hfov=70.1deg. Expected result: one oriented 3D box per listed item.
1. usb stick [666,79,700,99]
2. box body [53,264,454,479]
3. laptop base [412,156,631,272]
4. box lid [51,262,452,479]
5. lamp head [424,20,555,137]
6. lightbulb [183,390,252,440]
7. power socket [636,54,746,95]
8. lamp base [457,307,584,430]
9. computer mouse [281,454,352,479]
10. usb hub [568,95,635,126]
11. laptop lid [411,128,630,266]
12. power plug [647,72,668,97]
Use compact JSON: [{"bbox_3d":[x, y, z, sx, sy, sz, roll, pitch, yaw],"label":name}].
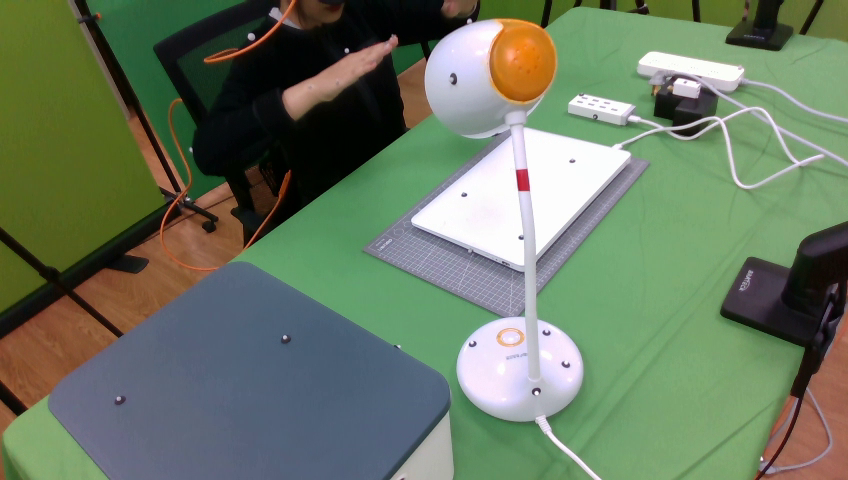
[{"bbox_3d":[0.492,-0.288,1.152,0.058,0.027,0.021,20,50,34],"label":"usb stick"},{"bbox_3d":[-0.173,0.212,0.659,0.361,0.161,0.255,23,50,33],"label":"box body"},{"bbox_3d":[0.176,-0.084,1.055,0.233,0.023,0.355,21,48,36],"label":"laptop base"},{"bbox_3d":[-0.182,0.156,0.610,0.368,0.015,0.264,23,49,34],"label":"box lid"},{"bbox_3d":[0.069,-0.153,0.572,0.113,0.112,0.122,-22,16,-14],"label":"lamp head"},{"bbox_3d":[-0.262,0.217,0.753,0.107,0.060,0.059,-10,35,32],"label":"lightbulb"},{"bbox_3d":[0.564,-0.357,1.293,0.225,0.033,0.072,24,51,33],"label":"power socket"},{"bbox_3d":[0.115,0.108,0.713,0.161,0.181,0.178,-16,43,-8],"label":"lamp base"},{"bbox_3d":[-0.110,0.278,0.656,0.116,0.041,0.063,20,51,36],"label":"computer mouse"},{"bbox_3d":[0.360,-0.264,1.228,0.124,0.025,0.049,24,49,34],"label":"usb hub"},{"bbox_3d":[0.172,-0.093,1.049,0.239,0.013,0.358,24,50,36],"label":"laptop lid"},{"bbox_3d":[0.494,-0.320,1.260,0.073,0.052,0.035,1,19,-40],"label":"power plug"}]
